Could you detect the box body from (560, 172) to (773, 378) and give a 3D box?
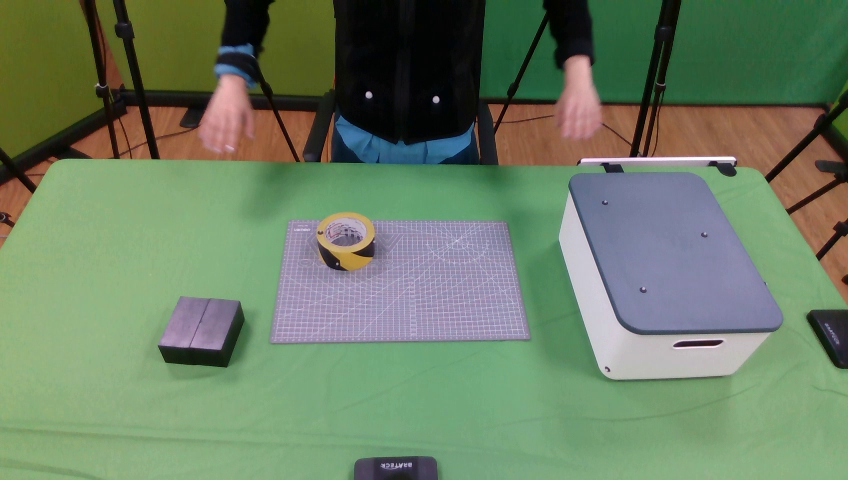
[{"bbox_3d":[0.405,0.057,1.074,0.254,0.161,0.361,-1,46,-5],"label":"box body"}]

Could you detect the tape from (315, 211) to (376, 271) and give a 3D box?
[{"bbox_3d":[-0.150,0.000,1.160,0.117,0.053,0.116,3,46,-3],"label":"tape"}]

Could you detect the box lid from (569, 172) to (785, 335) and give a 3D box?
[{"bbox_3d":[0.408,0.007,1.019,0.263,0.015,0.369,-1,46,-5],"label":"box lid"}]
